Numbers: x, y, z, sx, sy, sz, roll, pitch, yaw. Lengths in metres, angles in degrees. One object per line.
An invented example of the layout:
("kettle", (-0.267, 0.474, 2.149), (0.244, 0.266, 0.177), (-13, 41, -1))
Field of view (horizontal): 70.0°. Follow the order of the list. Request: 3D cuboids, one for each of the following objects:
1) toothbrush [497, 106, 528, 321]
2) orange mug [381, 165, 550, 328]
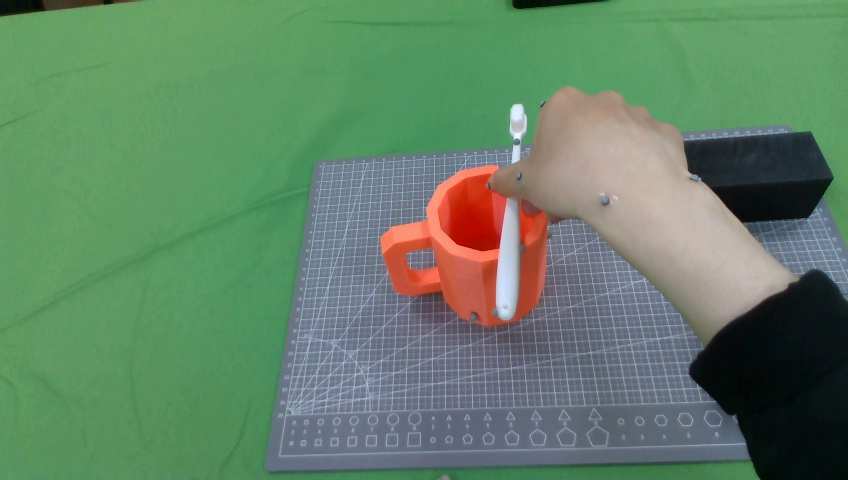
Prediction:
("toothbrush", (0.062, -0.026, 0.418), (0.014, 0.017, 0.180), (5, 56, 6))
("orange mug", (0.033, 0.010, 0.461), (0.126, 0.102, 0.082), (-8, 54, -2))
